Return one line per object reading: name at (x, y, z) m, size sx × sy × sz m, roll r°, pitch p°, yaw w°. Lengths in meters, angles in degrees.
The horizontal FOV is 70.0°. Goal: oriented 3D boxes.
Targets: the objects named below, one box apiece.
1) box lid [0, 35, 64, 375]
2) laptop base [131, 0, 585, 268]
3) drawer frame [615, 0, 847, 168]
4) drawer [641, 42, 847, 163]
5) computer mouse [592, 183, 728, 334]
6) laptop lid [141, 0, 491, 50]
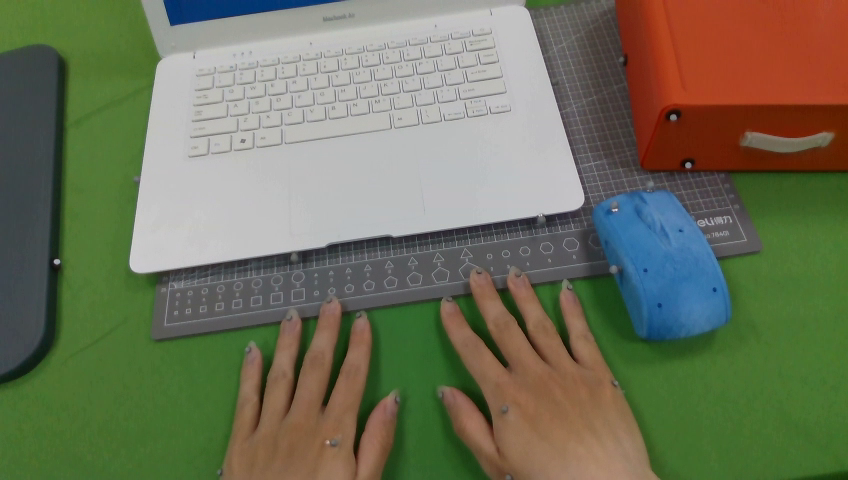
box lid at (-0.442, -0.025, 0.514) m, size 0.263 × 0.015 × 0.367 m, roll -16°, pitch 60°, yaw -5°
laptop base at (-0.063, -0.101, 0.520) m, size 0.354 × 0.023 × 0.233 m, roll -8°, pitch 63°, yaw 0°
drawer frame at (0.269, -0.164, 0.490) m, size 0.201 × 0.083 × 0.211 m, roll 0°, pitch 59°, yaw 4°
drawer at (0.269, -0.162, 0.489) m, size 0.194 × 0.074 × 0.210 m, roll 1°, pitch 59°, yaw 5°
computer mouse at (0.163, 0.008, 0.423) m, size 0.063 × 0.041 × 0.116 m, roll -12°, pitch 58°, yaw 1°
laptop lid at (-0.092, -0.300, 0.520) m, size 0.357 × 0.244 × 0.013 m, roll -10°, pitch 30°, yaw 1°
